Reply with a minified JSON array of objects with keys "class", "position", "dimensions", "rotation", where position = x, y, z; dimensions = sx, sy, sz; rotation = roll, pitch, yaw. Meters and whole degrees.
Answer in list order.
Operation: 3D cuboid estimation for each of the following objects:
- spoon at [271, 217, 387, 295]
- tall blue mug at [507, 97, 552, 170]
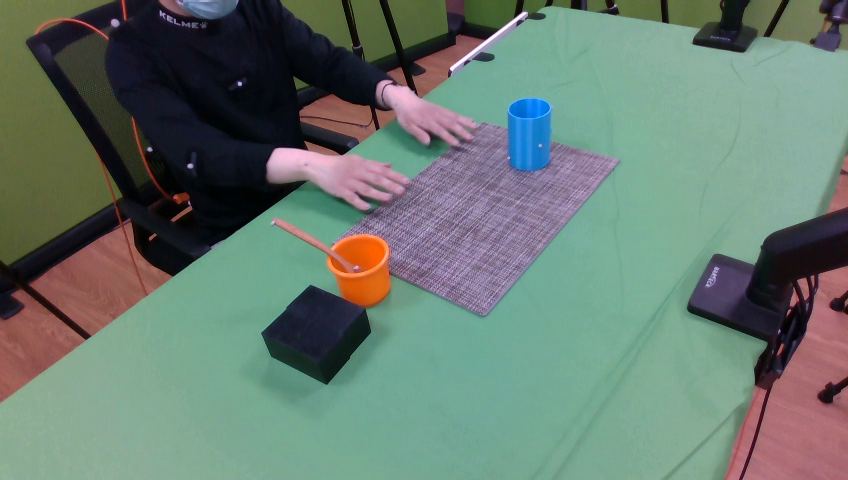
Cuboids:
[{"class":"spoon","position":[-0.134,0.022,0.865],"dimensions":[0.021,0.195,0.041],"rotation":[-36,25,39]},{"class":"tall blue mug","position":[0.179,-0.198,1.101],"dimensions":[0.078,0.108,0.106],"rotation":[-36,49,-28]}]
